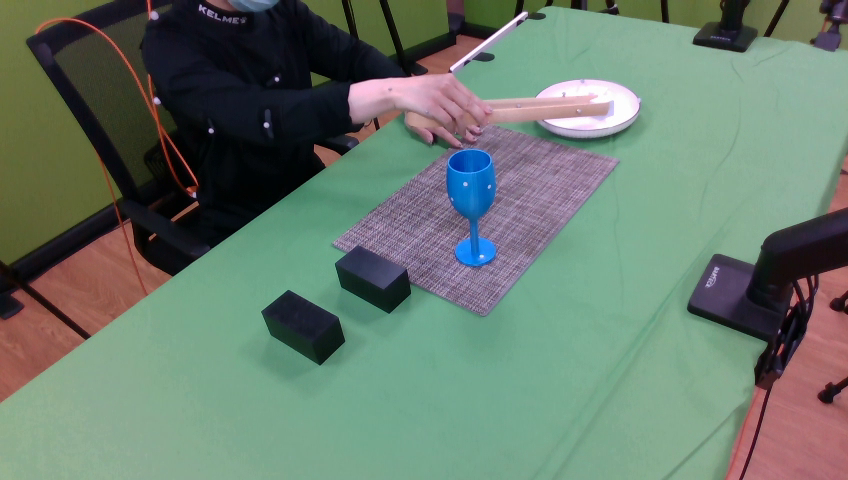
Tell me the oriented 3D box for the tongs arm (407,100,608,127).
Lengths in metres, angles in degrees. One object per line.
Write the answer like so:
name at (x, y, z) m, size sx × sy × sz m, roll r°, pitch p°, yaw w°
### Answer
tongs arm at (0.159, -0.226, 1.070) m, size 0.390 × 0.028 × 0.028 m, roll -7°, pitch 35°, yaw -19°

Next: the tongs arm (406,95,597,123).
tongs arm at (0.151, -0.237, 1.090) m, size 0.387 × 0.026 × 0.050 m, roll -5°, pitch 30°, yaw -15°

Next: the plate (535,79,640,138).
plate at (0.322, -0.259, 1.212) m, size 0.209 × 0.038 × 0.208 m, roll -4°, pitch 40°, yaw 4°

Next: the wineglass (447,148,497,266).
wineglass at (0.073, -0.046, 0.889) m, size 0.074 × 0.173 × 0.073 m, roll -4°, pitch 41°, yaw 4°
